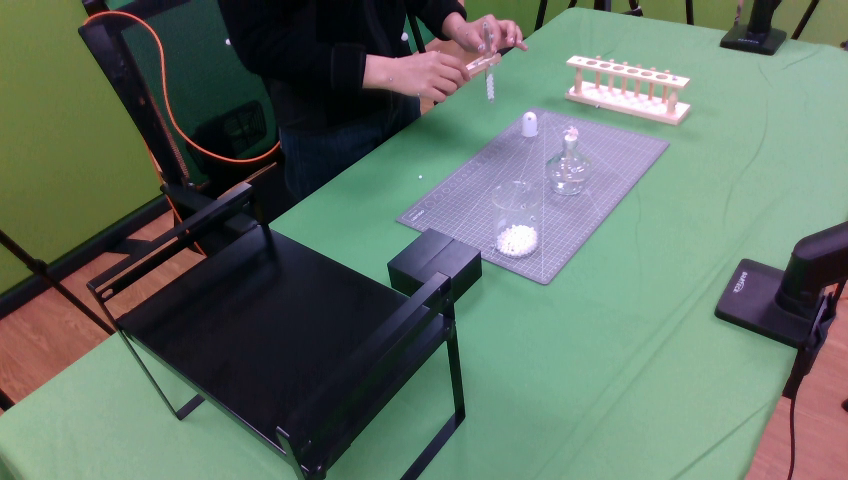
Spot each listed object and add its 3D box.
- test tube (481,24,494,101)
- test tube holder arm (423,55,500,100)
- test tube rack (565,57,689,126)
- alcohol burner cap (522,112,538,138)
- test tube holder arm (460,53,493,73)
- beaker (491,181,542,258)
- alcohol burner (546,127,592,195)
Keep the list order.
[{"bbox_3d":[0.117,-0.320,1.103,0.017,0.151,0.017,-5,45,6],"label":"test tube"},{"bbox_3d":[0.068,-0.288,1.065,0.179,0.015,0.013,-34,41,-27],"label":"test tube holder arm"},{"bbox_3d":[0.412,-0.311,1.230,0.240,0.085,0.067,24,49,32],"label":"test tube rack"},{"bbox_3d":[0.210,-0.230,1.195,0.034,0.048,0.033,-5,41,5],"label":"alcohol burner cap"},{"bbox_3d":[0.096,-0.314,1.090,0.010,0.015,0.088,21,48,36],"label":"test tube holder arm"},{"bbox_3d":[0.144,-0.030,0.925,0.073,0.101,0.084,23,48,31],"label":"beaker"},{"bbox_3d":[0.247,-0.137,1.023,0.078,0.119,0.077,-4,38,4],"label":"alcohol burner"}]
